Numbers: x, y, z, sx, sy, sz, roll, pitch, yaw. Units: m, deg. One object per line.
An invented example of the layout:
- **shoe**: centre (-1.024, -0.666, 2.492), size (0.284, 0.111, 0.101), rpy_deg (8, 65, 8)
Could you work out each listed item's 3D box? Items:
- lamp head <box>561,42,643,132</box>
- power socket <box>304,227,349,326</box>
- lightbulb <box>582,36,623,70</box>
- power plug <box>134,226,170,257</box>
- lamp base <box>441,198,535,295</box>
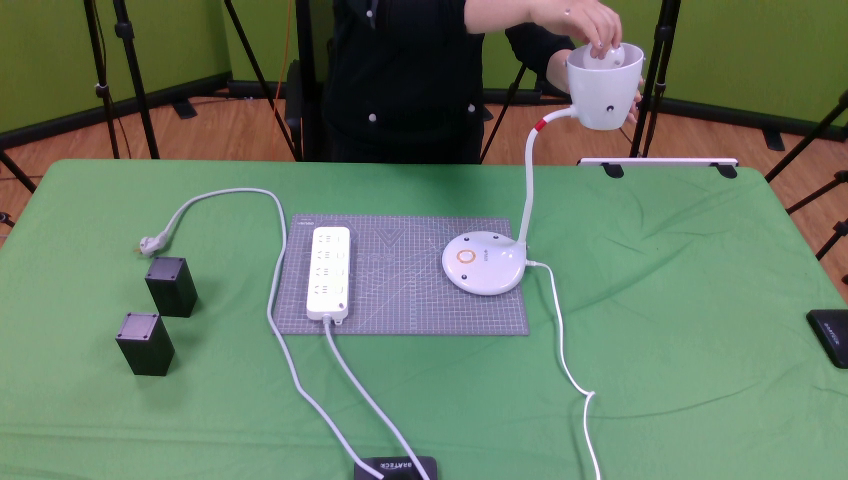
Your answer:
- **lamp head**: centre (0.270, -0.229, 0.934), size (0.112, 0.123, 0.112), rpy_deg (-2, 37, 2)
- **power socket**: centre (-0.177, 0.059, 1.115), size (0.072, 0.033, 0.225), rpy_deg (-1, 46, -4)
- **lightbulb**: centre (0.271, -0.255, 0.922), size (0.059, 0.108, 0.059), rpy_deg (-6, 31, 4)
- **power plug**: centre (-0.515, 0.006, 1.153), size (0.052, 0.035, 0.072), rpy_deg (-6, 24, 6)
- **lamp base**: centre (0.130, -0.012, 1.105), size (0.179, 0.181, 0.159), rpy_deg (-1, 46, -9)
